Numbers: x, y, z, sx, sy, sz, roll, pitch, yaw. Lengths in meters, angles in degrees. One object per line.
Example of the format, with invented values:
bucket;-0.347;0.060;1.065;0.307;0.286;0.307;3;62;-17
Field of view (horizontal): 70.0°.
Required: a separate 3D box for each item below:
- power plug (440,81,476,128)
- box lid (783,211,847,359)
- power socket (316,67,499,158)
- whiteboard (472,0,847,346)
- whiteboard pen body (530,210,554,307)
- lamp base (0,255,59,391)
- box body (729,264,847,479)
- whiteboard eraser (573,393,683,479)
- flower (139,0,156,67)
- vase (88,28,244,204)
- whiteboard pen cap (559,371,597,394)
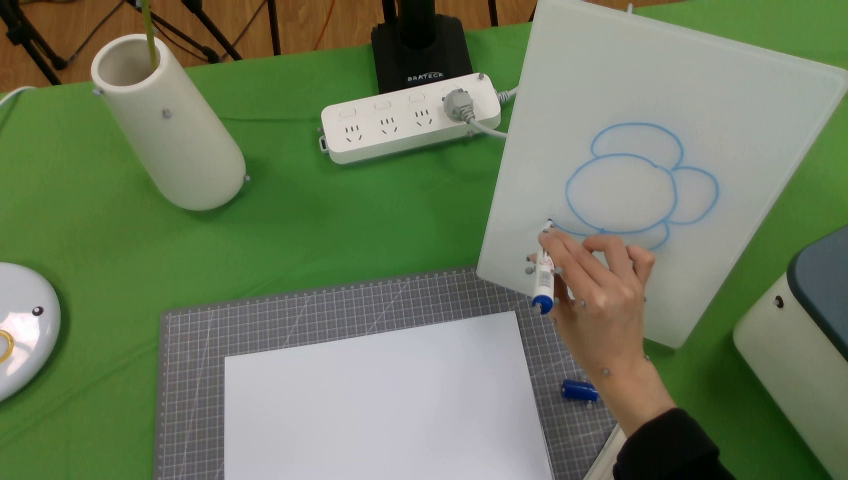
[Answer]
power plug;0.038;-0.148;0.693;0.035;0.053;0.072;-4;70;0
box lid;0.469;0.102;0.428;0.263;0.015;0.368;-26;66;-9
power socket;-0.018;-0.153;0.721;0.227;0.033;0.071;-13;65;-5
whiteboard;0.191;-0.080;0.563;0.216;0.308;0.143;20;46;12
whiteboard pen body;0.099;0.009;0.499;0.017;0.017;0.140;10;33;8
lamp base;-0.473;0.050;0.556;0.178;0.182;0.160;22;66;15
box body;0.473;0.137;0.494;0.254;0.161;0.361;-25;66;-10
whiteboard eraser;0.178;0.196;0.539;0.055;0.042;0.112;34;70;17
flower;-0.241;-0.151;0.544;0.038;0.362;0.044;40;62;1
vase;-0.259;-0.119;0.621;0.098;0.201;0.097;-1;64;3
whiteboard pen cap;0.148;0.138;0.582;0.033;0.018;0.018;10;65;4
